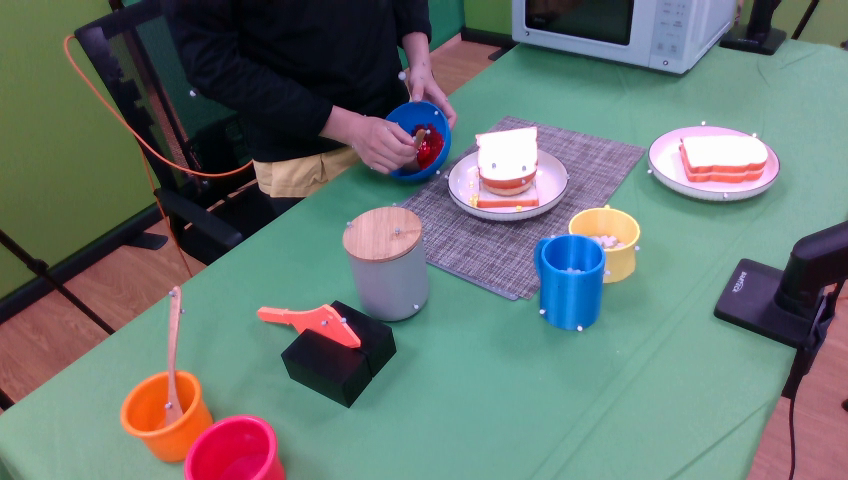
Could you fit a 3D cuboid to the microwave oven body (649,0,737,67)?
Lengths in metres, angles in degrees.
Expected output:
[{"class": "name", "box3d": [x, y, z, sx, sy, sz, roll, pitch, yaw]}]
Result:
[{"class": "microwave oven body", "box3d": [0.475, -0.602, 1.411, 0.438, 0.261, 0.327, 23, 50, 32]}]

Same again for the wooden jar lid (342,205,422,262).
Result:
[{"class": "wooden jar lid", "box3d": [-0.055, -0.006, 0.808, 0.108, 0.021, 0.108, -6, 40, 6]}]

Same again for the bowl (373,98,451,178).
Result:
[{"class": "bowl", "box3d": [-0.010, -0.175, 1.112, 0.150, 0.077, 0.151, -8, 71, 24]}]

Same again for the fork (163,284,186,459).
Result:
[{"class": "fork", "box3d": [-0.302, 0.157, 0.733, 0.028, 0.019, 0.207, -3, 84, 15]}]

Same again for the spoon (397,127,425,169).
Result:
[{"class": "spoon", "box3d": [-0.018, -0.156, 1.026, 0.042, 0.193, 0.021, 16, 74, -5]}]

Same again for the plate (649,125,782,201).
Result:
[{"class": "plate", "box3d": [0.493, -0.128, 1.036, 0.207, 0.039, 0.206, -4, 41, 4]}]

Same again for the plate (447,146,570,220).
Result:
[{"class": "plate", "box3d": [0.145, -0.098, 1.046, 0.209, 0.038, 0.208, -4, 41, 4]}]

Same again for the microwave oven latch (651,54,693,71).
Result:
[{"class": "microwave oven latch", "box3d": [0.531, -0.386, 1.301, 0.078, 0.029, 0.030, 26, 52, 34]}]

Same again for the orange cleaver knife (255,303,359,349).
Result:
[{"class": "orange cleaver knife", "box3d": [-0.161, 0.115, 0.813, 0.210, 0.077, 0.012, -4, 31, 47]}]

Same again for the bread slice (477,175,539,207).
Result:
[{"class": "bread slice", "box3d": [0.144, -0.104, 1.058, 0.105, 0.019, 0.131, -1, 43, 5]}]

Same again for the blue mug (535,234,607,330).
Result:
[{"class": "blue mug", "box3d": [0.190, 0.048, 0.824, 0.082, 0.106, 0.115, -26, 44, -21]}]

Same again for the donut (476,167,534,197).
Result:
[{"class": "donut", "box3d": [0.138, -0.116, 1.025, 0.099, 0.048, 0.098, -8, 55, 12]}]

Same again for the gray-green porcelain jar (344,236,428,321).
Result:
[{"class": "gray-green porcelain jar", "box3d": [-0.049, 0.042, 0.849, 0.106, 0.127, 0.105, -4, 41, 4]}]

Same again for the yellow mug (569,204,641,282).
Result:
[{"class": "yellow mug", "box3d": [0.268, -0.005, 0.904, 0.099, 0.064, 0.130, 7, 41, 15]}]

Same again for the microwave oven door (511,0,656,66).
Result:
[{"class": "microwave oven door", "box3d": [0.351, -0.539, 1.349, 0.353, 0.245, 0.039, 24, 50, 31]}]

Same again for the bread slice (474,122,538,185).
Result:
[{"class": "bread slice", "box3d": [0.141, -0.144, 1.008, 0.107, 0.018, 0.133, -8, 48, 9]}]
